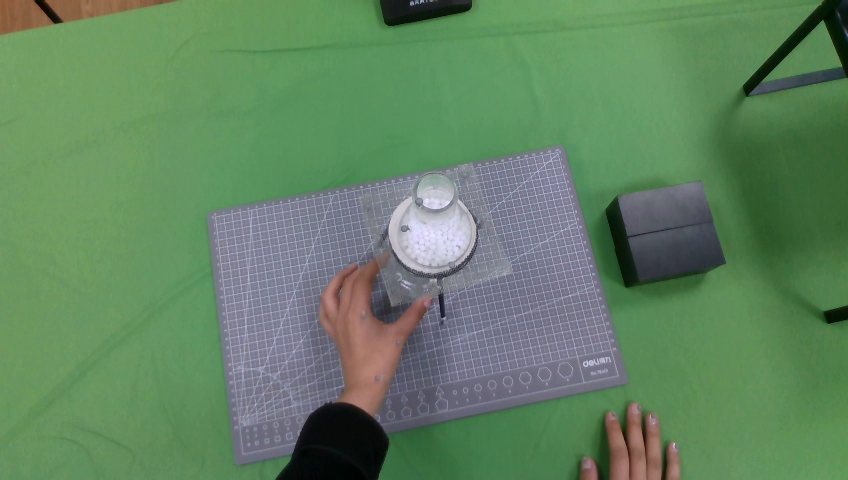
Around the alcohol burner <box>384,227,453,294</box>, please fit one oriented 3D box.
[{"bbox_3d":[-0.006,0.018,0.669,0.078,0.119,0.077,0,75,-1],"label":"alcohol burner"}]

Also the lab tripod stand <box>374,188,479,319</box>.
[{"bbox_3d":[0.009,0.003,0.662,0.148,0.132,0.147,0,74,0],"label":"lab tripod stand"}]

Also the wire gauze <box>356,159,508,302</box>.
[{"bbox_3d":[0.007,-0.011,0.598,0.125,0.011,0.121,-15,78,-7],"label":"wire gauze"}]

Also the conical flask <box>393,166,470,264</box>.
[{"bbox_3d":[0.007,-0.027,0.541,0.075,0.122,0.075,0,75,0],"label":"conical flask"}]
